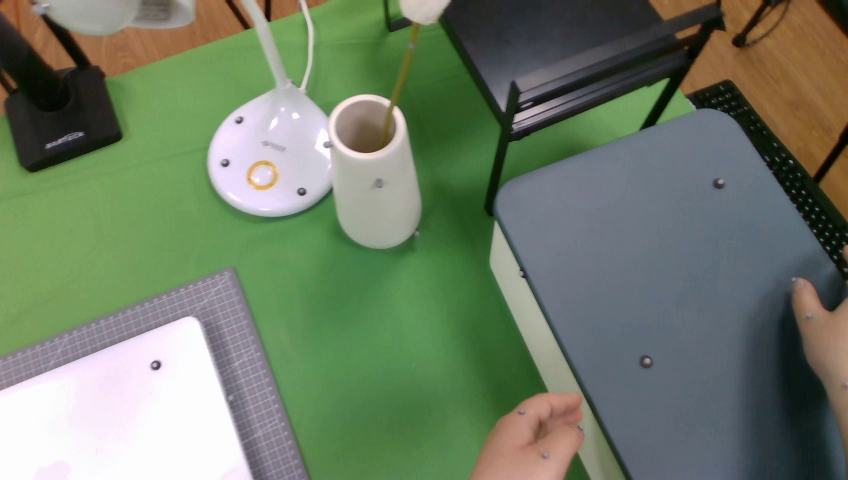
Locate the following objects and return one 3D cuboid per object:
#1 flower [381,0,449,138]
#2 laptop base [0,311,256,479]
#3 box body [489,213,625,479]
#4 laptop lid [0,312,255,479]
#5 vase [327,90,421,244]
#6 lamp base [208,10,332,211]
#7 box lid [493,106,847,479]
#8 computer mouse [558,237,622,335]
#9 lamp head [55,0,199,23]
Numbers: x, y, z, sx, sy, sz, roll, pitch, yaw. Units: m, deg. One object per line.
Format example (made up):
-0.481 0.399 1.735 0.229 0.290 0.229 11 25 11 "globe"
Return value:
-0.033 -0.107 0.557 0.038 0.364 0.043 -8 59 -22 "flower"
-0.359 0.240 0.598 0.355 0.023 0.234 -22 75 -10 "laptop base"
0.243 0.089 0.596 0.254 0.161 0.361 -21 71 -9 "box body"
-0.357 0.238 0.587 0.357 0.013 0.240 -21 73 -9 "laptop lid"
-0.053 -0.070 0.630 0.098 0.201 0.097 0 67 1 "vase"
-0.177 -0.148 0.667 0.160 0.181 0.178 9 66 2 "lamp base"
0.243 0.059 0.527 0.263 0.015 0.368 -20 70 -10 "box lid"
0.186 0.047 0.672 0.063 0.041 0.116 10 62 6 "computer mouse"
-0.189 -0.206 0.368 0.112 0.112 0.122 6 86 1 "lamp head"
